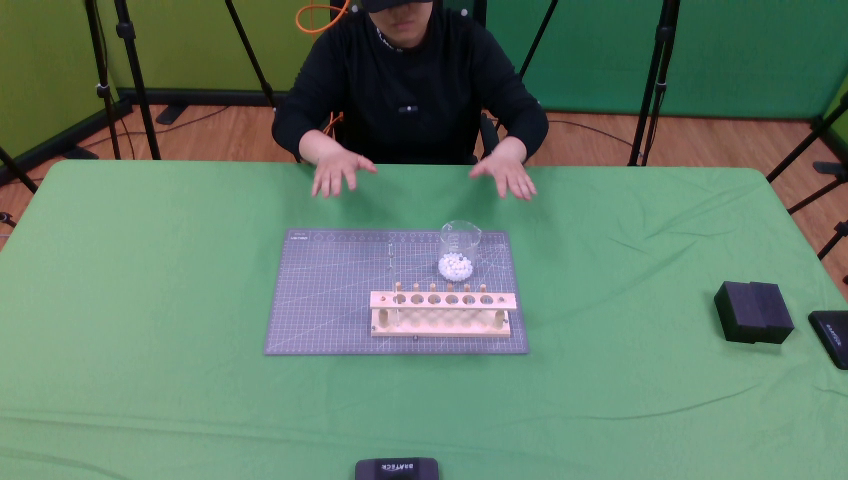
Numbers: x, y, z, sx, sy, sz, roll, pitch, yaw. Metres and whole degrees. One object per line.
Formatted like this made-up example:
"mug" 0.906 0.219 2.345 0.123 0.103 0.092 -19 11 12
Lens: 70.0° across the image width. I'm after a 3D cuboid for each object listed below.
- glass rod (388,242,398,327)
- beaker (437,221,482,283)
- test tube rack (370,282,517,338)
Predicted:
"glass rod" -0.051 0.076 0.981 0.008 0.201 0.008 0 44 1
"beaker" 0.064 0.024 1.124 0.084 0.101 0.073 -13 49 -17
"test tube rack" 0.030 0.116 1.041 0.242 0.085 0.066 1 46 -3
